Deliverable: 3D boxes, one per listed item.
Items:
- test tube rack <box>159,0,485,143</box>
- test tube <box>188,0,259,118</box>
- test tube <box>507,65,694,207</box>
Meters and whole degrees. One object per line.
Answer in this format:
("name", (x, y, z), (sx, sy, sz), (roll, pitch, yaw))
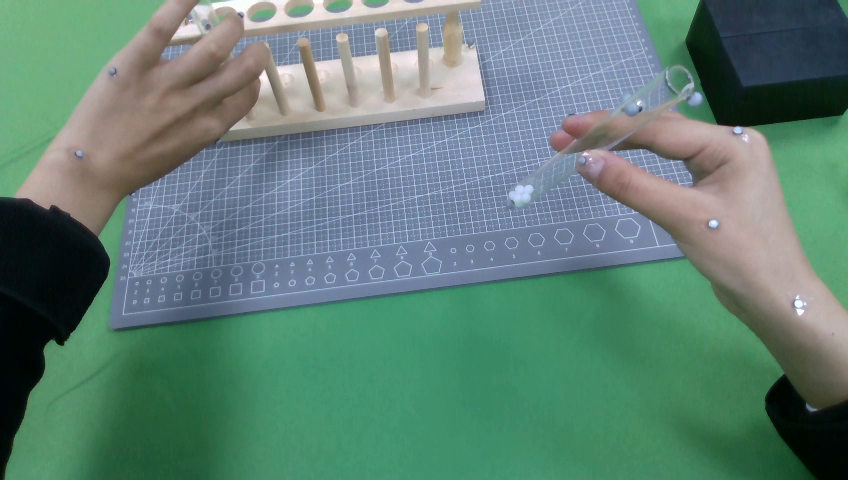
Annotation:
("test tube rack", (-0.075, -0.144, 0.485), (0.242, 0.086, 0.066), (-7, 61, 1))
("test tube", (-0.148, -0.143, 0.436), (0.017, 0.152, 0.017), (-2, 59, 3))
("test tube", (0.085, -0.048, 0.327), (0.017, 0.150, 0.017), (7, 71, -20))
